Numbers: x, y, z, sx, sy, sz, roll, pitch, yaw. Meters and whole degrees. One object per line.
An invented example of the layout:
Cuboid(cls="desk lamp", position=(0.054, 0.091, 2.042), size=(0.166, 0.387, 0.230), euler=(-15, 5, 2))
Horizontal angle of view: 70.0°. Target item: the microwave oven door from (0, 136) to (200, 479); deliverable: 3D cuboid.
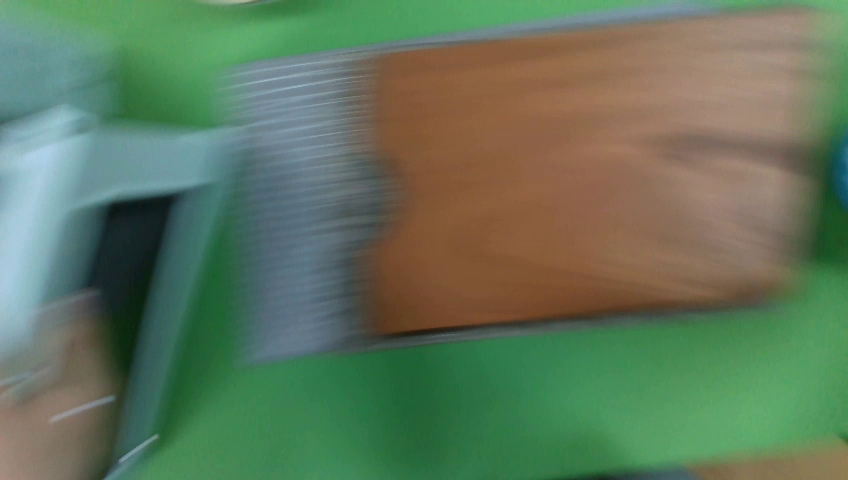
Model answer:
Cuboid(cls="microwave oven door", position=(-0.279, 0.089, 0.510), size=(0.039, 0.243, 0.356), euler=(12, 100, 3))

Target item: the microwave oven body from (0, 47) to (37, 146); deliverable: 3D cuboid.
Cuboid(cls="microwave oven body", position=(-0.499, 0.074, 0.526), size=(0.326, 0.259, 0.443), euler=(-11, 99, 5))

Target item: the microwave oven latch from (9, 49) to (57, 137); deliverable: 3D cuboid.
Cuboid(cls="microwave oven latch", position=(-0.382, -0.140, 0.580), size=(0.030, 0.029, 0.079), euler=(-10, 99, 5))

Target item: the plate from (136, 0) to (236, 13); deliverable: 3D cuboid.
Cuboid(cls="plate", position=(-0.220, -0.316, 0.559), size=(0.207, 0.039, 0.208), euler=(1, 99, 4))

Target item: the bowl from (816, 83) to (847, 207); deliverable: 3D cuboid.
Cuboid(cls="bowl", position=(0.412, -0.089, 0.534), size=(0.151, 0.076, 0.152), euler=(0, 101, 2))
